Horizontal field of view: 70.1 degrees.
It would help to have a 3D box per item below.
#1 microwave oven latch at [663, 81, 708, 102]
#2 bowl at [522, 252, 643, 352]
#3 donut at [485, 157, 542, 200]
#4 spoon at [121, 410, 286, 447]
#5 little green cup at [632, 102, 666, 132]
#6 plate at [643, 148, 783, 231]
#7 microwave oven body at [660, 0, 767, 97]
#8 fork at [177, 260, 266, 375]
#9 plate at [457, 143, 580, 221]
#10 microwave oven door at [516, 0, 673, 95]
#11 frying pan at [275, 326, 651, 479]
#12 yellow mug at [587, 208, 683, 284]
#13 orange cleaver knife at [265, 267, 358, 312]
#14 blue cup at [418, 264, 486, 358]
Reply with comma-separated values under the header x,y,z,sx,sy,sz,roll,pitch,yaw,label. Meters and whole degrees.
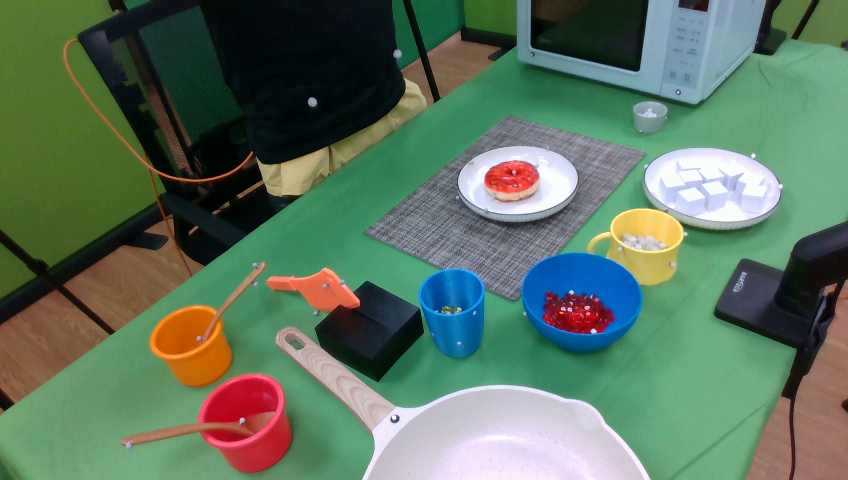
x,y,z,sx,sy,sz,roll,pitch,yaw,label
0.518,-0.299,1.202,0.030,0.029,0.078,-37,48,-29,microwave oven latch
0.204,0.093,0.792,0.151,0.077,0.150,-4,40,4,bowl
0.153,-0.108,1.039,0.099,0.048,0.098,-6,37,5,donut
-0.236,0.208,0.669,0.041,0.021,0.195,36,13,38,spoon
0.434,-0.237,1.172,0.061,0.039,0.061,-6,39,5,little green cup
0.464,-0.080,0.985,0.207,0.039,0.206,-4,41,4,plate
0.473,-0.516,1.313,0.438,0.261,0.327,26,51,34,microwave oven body
-0.267,0.103,0.793,0.207,0.019,0.028,-52,38,17,fork
0.162,-0.097,1.042,0.209,0.038,0.208,-4,40,4,plate
0.344,-0.458,1.256,0.353,0.245,0.039,26,51,33,microwave oven door
0.003,0.229,0.641,0.484,0.103,0.308,34,54,28,frying pan
0.305,0.009,0.884,0.131,0.064,0.099,-4,40,5,yellow mug
-0.164,0.073,0.864,0.210,0.077,0.012,-6,32,50,orange cleaver knife
0.042,0.100,0.787,0.092,0.101,0.092,-5,41,5,blue cup
